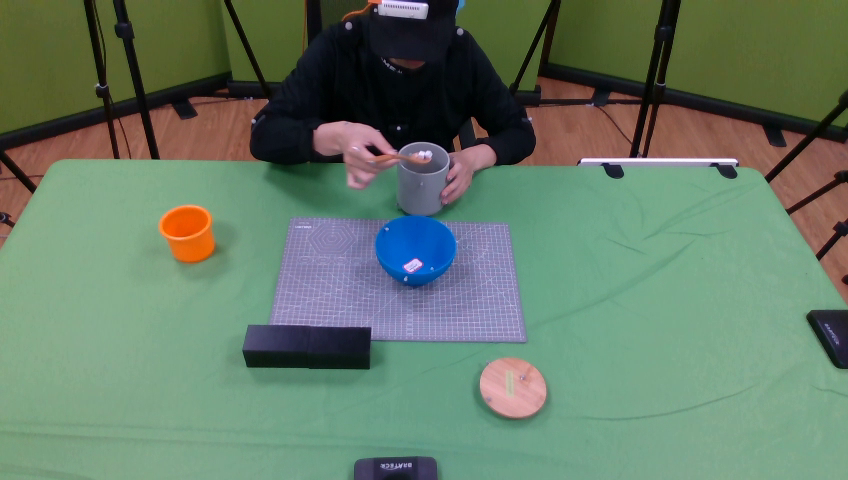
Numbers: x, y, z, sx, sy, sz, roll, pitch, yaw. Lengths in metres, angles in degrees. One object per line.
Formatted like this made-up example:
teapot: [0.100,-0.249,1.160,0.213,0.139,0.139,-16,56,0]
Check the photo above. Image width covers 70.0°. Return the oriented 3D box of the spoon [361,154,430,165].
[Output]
spoon: [-0.051,-0.147,1.087,0.041,0.021,0.194,29,19,28]

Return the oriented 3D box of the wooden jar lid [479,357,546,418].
wooden jar lid: [0.142,0.240,0.979,0.108,0.021,0.107,1,46,-1]

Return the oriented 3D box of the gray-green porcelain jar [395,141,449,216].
gray-green porcelain jar: [-0.007,-0.120,1.241,0.106,0.127,0.105,2,46,-2]

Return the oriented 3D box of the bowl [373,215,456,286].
bowl: [-0.019,0.032,1.122,0.151,0.077,0.150,2,46,-2]
